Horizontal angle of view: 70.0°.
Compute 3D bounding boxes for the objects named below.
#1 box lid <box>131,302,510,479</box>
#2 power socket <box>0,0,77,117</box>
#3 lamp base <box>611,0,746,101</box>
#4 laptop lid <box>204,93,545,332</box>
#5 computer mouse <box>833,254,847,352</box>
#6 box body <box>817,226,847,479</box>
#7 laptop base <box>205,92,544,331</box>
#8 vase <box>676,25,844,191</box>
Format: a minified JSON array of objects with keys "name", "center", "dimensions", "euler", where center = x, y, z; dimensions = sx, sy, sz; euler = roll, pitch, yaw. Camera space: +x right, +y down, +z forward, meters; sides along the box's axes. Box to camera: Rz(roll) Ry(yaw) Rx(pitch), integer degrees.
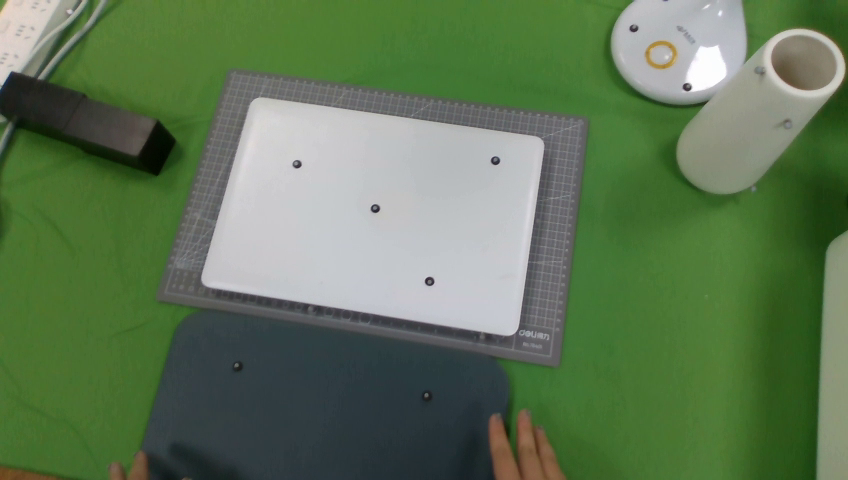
[{"name":"box lid","center":[-0.110,0.215,0.624],"dimensions":[0.371,0.015,0.262],"euler":[9,74,5]},{"name":"power socket","center":[-0.514,-0.256,0.766],"dimensions":[0.072,0.033,0.225],"euler":[17,74,6]},{"name":"lamp base","center":[0.313,-0.273,0.666],"dimensions":[0.160,0.181,0.179],"euler":[42,76,13]},{"name":"laptop lid","center":[-0.053,-0.039,0.680],"dimensions":[0.356,0.013,0.240],"euler":[11,76,5]},{"name":"computer mouse","center":[0.466,0.066,0.624],"dimensions":[0.063,0.041,0.116],"euler":[5,65,7]},{"name":"box body","center":[0.516,0.151,0.539],"dimensions":[0.254,0.161,0.362],"euler":[11,74,6]},{"name":"laptop base","center":[-0.052,-0.038,0.692],"dimensions":[0.354,0.023,0.234],"euler":[9,77,5]},{"name":"vase","center":[0.329,-0.126,0.611],"dimensions":[0.098,0.201,0.097],"euler":[-1,71,4]}]
